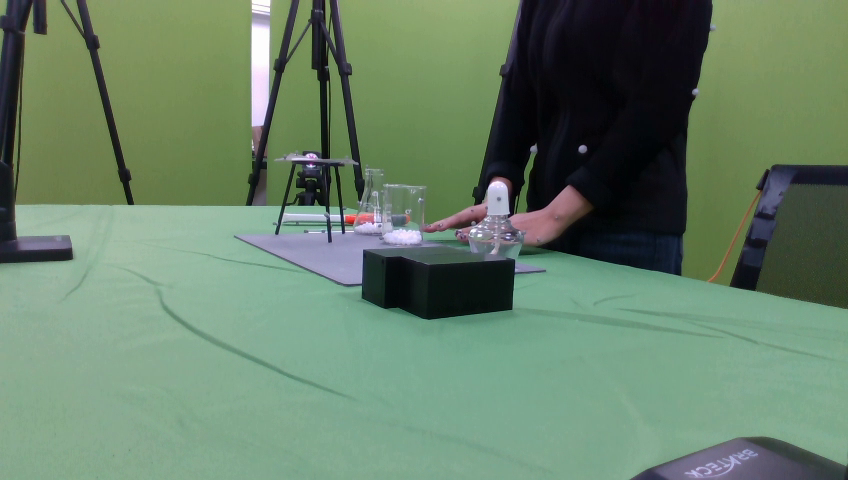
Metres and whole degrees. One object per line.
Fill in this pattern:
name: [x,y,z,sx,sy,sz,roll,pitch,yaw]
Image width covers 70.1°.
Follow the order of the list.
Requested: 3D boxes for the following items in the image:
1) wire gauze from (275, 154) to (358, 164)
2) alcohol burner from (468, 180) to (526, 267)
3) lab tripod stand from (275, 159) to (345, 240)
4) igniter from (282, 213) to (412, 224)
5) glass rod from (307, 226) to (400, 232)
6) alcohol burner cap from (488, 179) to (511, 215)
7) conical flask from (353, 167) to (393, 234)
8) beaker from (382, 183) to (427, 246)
wire gauze: [-0.179,-0.137,1.028,0.121,0.011,0.125,4,8,0]
alcohol burner: [0.101,-0.022,0.821,0.078,0.119,0.078,4,8,0]
lab tripod stand: [-0.181,-0.072,1.039,0.148,0.131,0.148,4,8,0]
igniter: [-0.159,-0.046,1.287,0.278,0.025,0.057,-1,-2,-21]
glass rod: [-0.134,-0.022,1.183,0.201,0.008,0.008,-3,8,-33]
alcohol burner cap: [0.101,-0.058,0.816,0.034,0.048,0.034,-4,8,1]
conical flask: [-0.094,-0.074,1.126,0.075,0.122,0.075,2,7,0]
beaker: [-0.032,-0.044,1.008,0.074,0.100,0.084,6,7,22]
